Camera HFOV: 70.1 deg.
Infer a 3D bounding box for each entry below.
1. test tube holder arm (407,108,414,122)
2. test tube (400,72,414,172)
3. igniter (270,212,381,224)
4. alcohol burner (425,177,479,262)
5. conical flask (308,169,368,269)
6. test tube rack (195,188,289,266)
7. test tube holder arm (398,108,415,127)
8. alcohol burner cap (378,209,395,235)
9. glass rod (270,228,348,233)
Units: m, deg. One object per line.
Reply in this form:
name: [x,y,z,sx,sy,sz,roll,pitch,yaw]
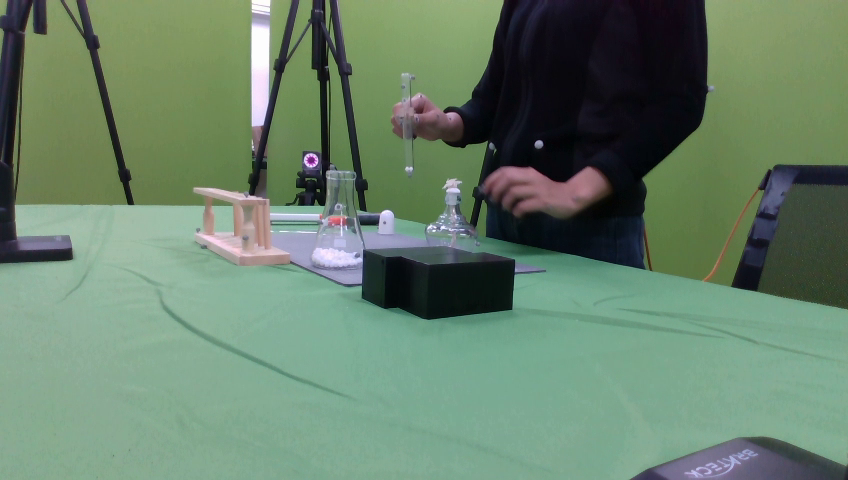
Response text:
test tube holder arm: [-0.022,-0.196,0.948,0.010,0.015,0.087,3,6,-4]
test tube: [-0.026,-0.180,0.926,0.017,0.150,0.017,-2,4,0]
igniter: [-0.213,-0.048,1.279,0.278,0.025,0.057,-1,-2,-24]
alcohol burner: [0.040,-0.029,0.853,0.078,0.119,0.078,2,10,0]
conical flask: [-0.107,-0.028,0.762,0.075,0.122,0.075,2,7,0]
test tube rack: [-0.266,-0.025,0.864,0.067,0.085,0.241,-2,8,-33]
test tube holder arm: [-0.027,-0.201,0.993,0.013,0.015,0.178,4,6,3]
alcohol burner cap: [-0.070,-0.035,1.144,0.034,0.048,0.034,2,8,0]
glass rod: [-0.235,-0.017,1.105,0.201,0.008,0.008,1,7,-26]
